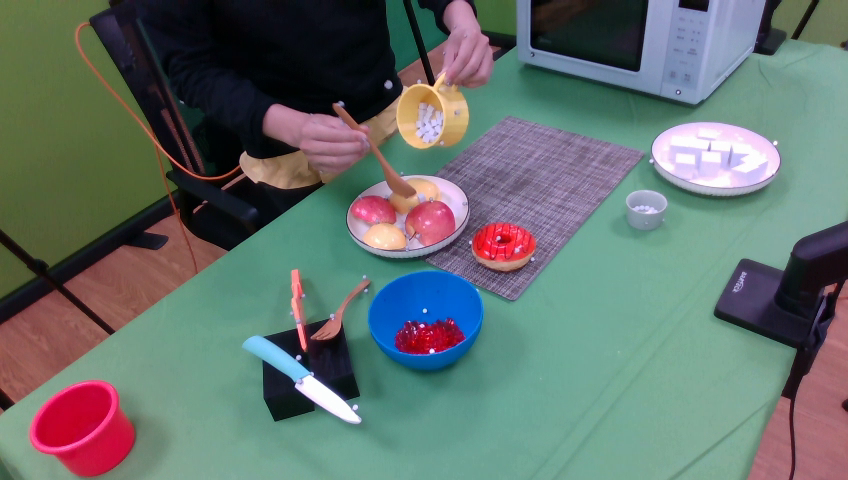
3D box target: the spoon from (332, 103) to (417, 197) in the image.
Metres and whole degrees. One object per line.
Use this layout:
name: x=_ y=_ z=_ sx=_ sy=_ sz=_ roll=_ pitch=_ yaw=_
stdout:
spoon: x=-0.072 y=-0.126 z=0.875 sx=0.041 sy=0.195 sz=0.021 roll=-3 pitch=47 yaw=41

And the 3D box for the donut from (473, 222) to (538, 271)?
donut: x=0.123 y=0.009 z=0.923 sx=0.099 sy=0.048 sz=0.098 roll=-3 pitch=37 yaw=3

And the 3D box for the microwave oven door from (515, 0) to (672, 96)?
microwave oven door: x=0.344 y=-0.455 z=1.259 sx=0.353 sy=0.245 sz=0.039 roll=26 pitch=51 yaw=33

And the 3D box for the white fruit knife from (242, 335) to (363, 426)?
white fruit knife: x=-0.148 y=0.167 z=0.730 sx=0.206 sy=0.016 sz=0.027 roll=26 pitch=79 yaw=31

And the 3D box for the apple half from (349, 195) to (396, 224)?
apple half: x=-0.081 y=-0.055 z=1.007 sx=0.081 sy=0.033 sz=0.081 roll=10 pitch=24 yaw=-4

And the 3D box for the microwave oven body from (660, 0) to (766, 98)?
microwave oven body: x=0.472 y=-0.513 z=1.317 sx=0.438 sy=0.261 sz=0.327 roll=26 pitch=51 yaw=34

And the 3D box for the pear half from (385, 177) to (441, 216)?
pear half: x=-0.030 y=-0.079 z=1.033 sx=0.109 sy=0.056 sz=0.076 roll=-1 pitch=35 yaw=16

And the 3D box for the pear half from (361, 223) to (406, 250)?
pear half: x=-0.063 y=-0.012 z=0.959 sx=0.071 sy=0.031 sz=0.087 roll=2 pitch=25 yaw=-26

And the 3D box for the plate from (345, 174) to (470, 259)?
plate: x=-0.026 y=-0.037 z=1.004 sx=0.209 sy=0.038 sz=0.208 roll=-4 pitch=40 yaw=4

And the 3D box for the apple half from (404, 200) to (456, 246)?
apple half: x=0.009 y=-0.035 z=0.970 sx=0.075 sy=0.053 sz=0.080 roll=-27 pitch=40 yaw=-22

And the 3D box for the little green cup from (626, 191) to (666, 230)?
little green cup: x=0.352 y=-0.046 z=0.963 sx=0.061 sy=0.039 sz=0.061 roll=-4 pitch=40 yaw=4

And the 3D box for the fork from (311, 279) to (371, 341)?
fork: x=-0.108 y=0.092 z=0.832 sx=0.028 sy=0.019 sz=0.207 roll=-6 pitch=19 yaw=15

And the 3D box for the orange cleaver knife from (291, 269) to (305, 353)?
orange cleaver knife: x=-0.175 y=0.093 z=0.844 sx=0.012 sy=0.077 sz=0.210 roll=-11 pitch=15 yaw=-10

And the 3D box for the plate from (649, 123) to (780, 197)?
plate: x=0.497 y=-0.135 z=1.046 sx=0.207 sy=0.039 sz=0.206 roll=-4 pitch=40 yaw=4

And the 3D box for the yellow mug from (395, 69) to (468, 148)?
yellow mug: x=0.018 y=-0.211 z=0.959 sx=0.099 sy=0.131 sz=0.064 roll=41 pitch=32 yaw=23

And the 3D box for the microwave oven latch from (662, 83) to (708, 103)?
microwave oven latch: x=0.517 y=-0.296 z=1.204 sx=0.078 sy=0.029 sz=0.030 roll=28 pitch=52 yaw=35

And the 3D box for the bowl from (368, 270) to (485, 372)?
bowl: x=0.007 y=0.118 z=0.791 sx=0.151 sy=0.077 sz=0.150 roll=-5 pitch=40 yaw=4
